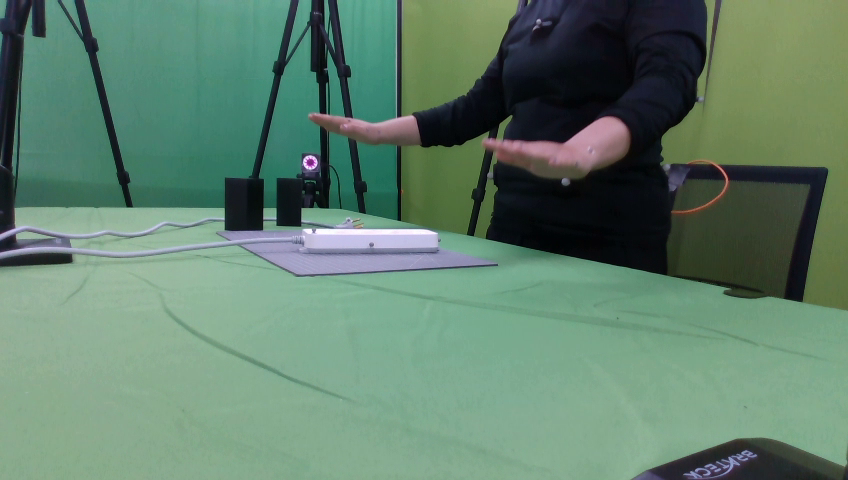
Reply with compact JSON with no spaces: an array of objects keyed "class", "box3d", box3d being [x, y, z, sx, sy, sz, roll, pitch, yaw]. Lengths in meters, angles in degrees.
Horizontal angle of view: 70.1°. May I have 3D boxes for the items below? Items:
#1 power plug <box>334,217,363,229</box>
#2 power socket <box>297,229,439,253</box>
[{"class":"power plug","box3d":[-0.143,-0.031,1.129,0.053,0.035,0.072,-16,22,-9]},{"class":"power socket","box3d":[-0.084,0.000,0.942,0.228,0.032,0.072,0,7,-20]}]
